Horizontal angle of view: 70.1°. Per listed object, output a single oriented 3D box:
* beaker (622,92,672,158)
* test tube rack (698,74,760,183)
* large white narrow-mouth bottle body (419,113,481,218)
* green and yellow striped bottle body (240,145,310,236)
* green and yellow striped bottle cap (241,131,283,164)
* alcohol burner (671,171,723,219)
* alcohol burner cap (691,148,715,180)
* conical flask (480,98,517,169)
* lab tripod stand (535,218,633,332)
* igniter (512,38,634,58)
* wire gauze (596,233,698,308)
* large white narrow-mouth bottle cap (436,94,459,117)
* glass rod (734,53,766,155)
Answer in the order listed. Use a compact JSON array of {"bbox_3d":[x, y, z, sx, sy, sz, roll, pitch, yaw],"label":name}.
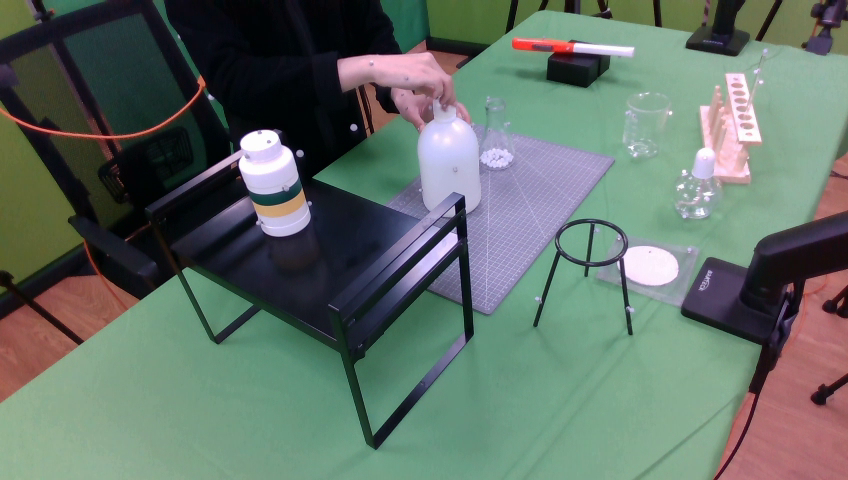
[{"bbox_3d":[0.402,-0.210,1.106,0.074,0.101,0.083,-8,40,-2],"label":"beaker"},{"bbox_3d":[0.547,-0.208,1.095,0.066,0.085,0.242,6,42,15],"label":"test tube rack"},{"bbox_3d":[0.042,-0.138,0.998,0.102,0.195,0.101,-3,39,3],"label":"large white narrow-mouth bottle body"},{"bbox_3d":[-0.181,-0.068,0.729,0.063,0.120,0.063,-4,40,4],"label":"green and yellow striped bottle body"},{"bbox_3d":[-0.187,-0.107,0.695,0.045,0.020,0.045,-4,39,4],"label":"green and yellow striped bottle cap"},{"bbox_3d":[0.434,-0.093,0.955,0.078,0.119,0.077,-3,43,4],"label":"alcohol burner"},{"bbox_3d":[0.432,-0.120,0.930,0.034,0.048,0.033,-7,48,8],"label":"alcohol burner cap"},{"bbox_3d":[0.133,-0.198,1.108,0.075,0.122,0.075,-4,41,4],"label":"conical flask"},{"bbox_3d":[0.215,0.050,0.803,0.148,0.132,0.147,-4,42,4],"label":"lab tripod stand"},{"bbox_3d":[0.328,-0.433,1.360,0.275,0.025,0.057,12,33,20],"label":"igniter"},{"bbox_3d":[0.331,0.038,0.897,0.124,0.011,0.121,18,47,26],"label":"wire gauze"},{"bbox_3d":[0.036,-0.210,0.941,0.038,0.024,0.037,-3,39,3],"label":"large white narrow-mouth bottle cap"},{"bbox_3d":[0.540,-0.219,1.006,0.008,0.201,0.008,-5,45,6],"label":"glass rod"}]
